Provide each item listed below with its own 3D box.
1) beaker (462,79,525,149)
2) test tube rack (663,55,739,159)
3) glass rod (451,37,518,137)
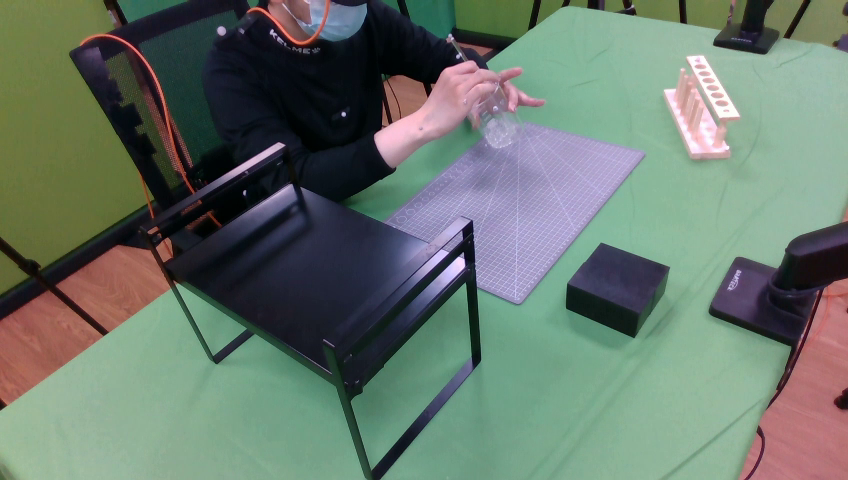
[{"bbox_3d":[0.124,-0.216,1.044,0.084,0.101,0.073,-49,32,-16],"label":"beaker"},{"bbox_3d":[0.517,-0.256,1.144,0.066,0.085,0.241,-1,41,8],"label":"test tube rack"},{"bbox_3d":[0.102,-0.253,1.011,0.008,0.200,0.008,-33,19,13],"label":"glass rod"}]
